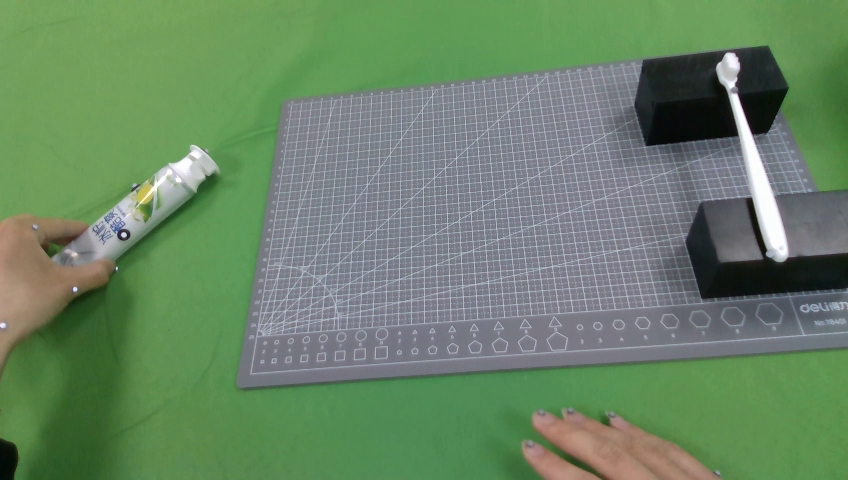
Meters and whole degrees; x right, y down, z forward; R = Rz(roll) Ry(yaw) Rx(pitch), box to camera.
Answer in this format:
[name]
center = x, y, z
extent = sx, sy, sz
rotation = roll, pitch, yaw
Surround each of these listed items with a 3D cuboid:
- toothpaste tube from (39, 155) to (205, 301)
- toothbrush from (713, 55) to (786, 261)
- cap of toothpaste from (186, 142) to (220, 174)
[toothpaste tube]
center = -0.261, -0.019, 0.535
extent = 0.165, 0.035, 0.054
rotation = -44, 54, -15
[toothbrush]
center = 0.230, -0.065, 0.430
extent = 0.014, 0.017, 0.180
rotation = 5, 59, -1
[cap of toothpaste]
center = -0.203, -0.074, 0.554
extent = 0.037, 0.038, 0.011
rotation = 26, 62, 24
